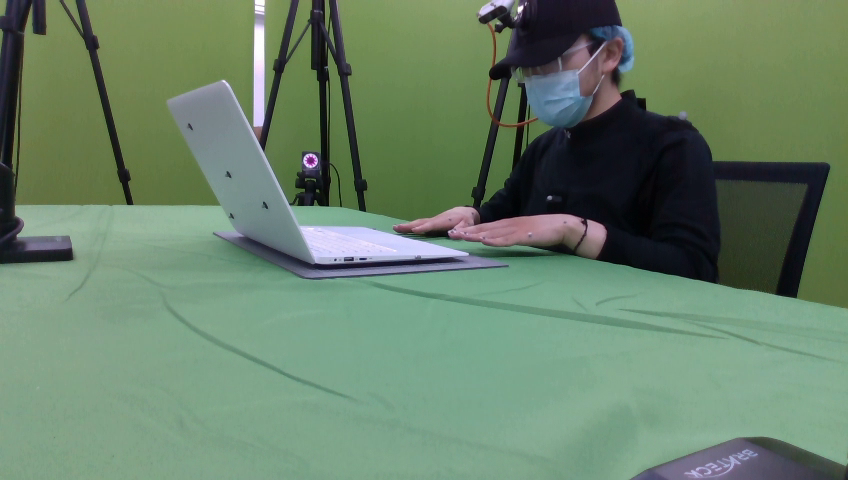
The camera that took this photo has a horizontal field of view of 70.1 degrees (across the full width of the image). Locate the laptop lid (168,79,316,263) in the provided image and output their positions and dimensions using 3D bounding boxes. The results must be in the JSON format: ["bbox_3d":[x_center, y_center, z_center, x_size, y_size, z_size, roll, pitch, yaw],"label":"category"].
[{"bbox_3d":[-0.264,-0.093,0.831,0.013,0.242,0.355,-33,25,-25],"label":"laptop lid"}]

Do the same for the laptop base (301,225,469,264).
[{"bbox_3d":[-0.124,0.005,0.936,0.237,0.023,0.352,2,6,-33],"label":"laptop base"}]
